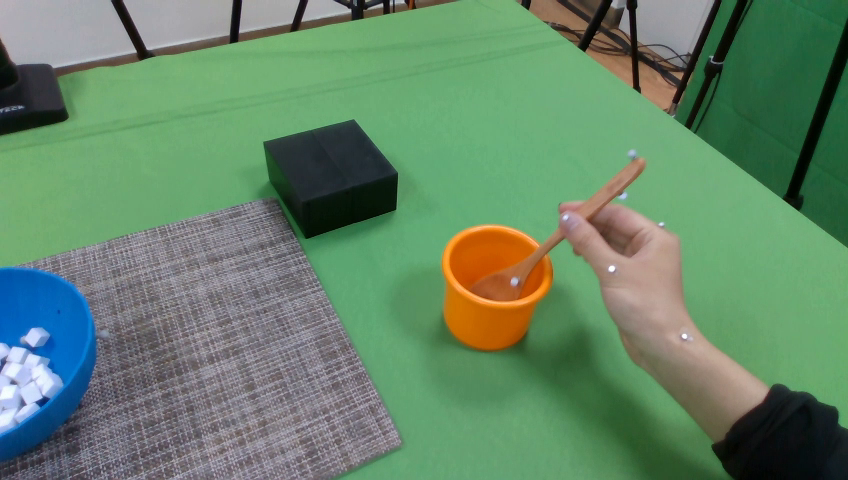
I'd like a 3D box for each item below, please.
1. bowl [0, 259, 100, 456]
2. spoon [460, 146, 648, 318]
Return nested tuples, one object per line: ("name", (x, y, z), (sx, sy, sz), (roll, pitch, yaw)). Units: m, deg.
("bowl", (-0.297, 0.094, 0.420), (0.151, 0.077, 0.150), (3, 47, -3))
("spoon", (0.101, -0.004, 0.485), (0.041, 0.194, 0.022), (55, 25, 20))
